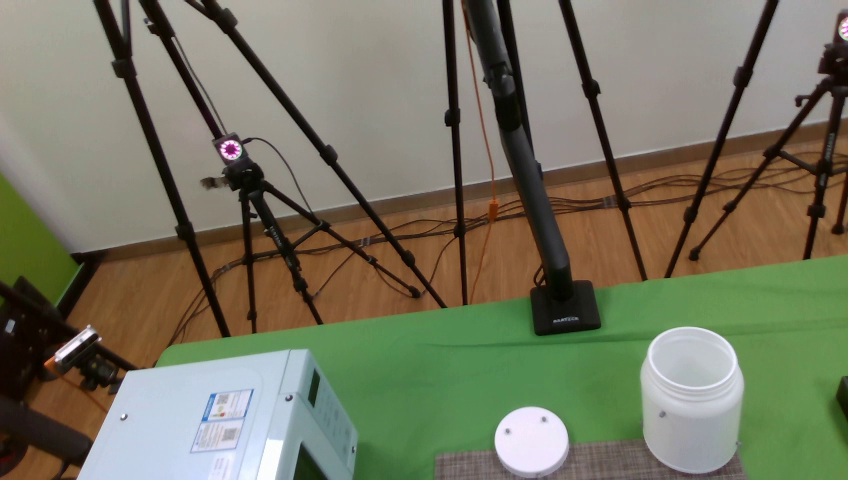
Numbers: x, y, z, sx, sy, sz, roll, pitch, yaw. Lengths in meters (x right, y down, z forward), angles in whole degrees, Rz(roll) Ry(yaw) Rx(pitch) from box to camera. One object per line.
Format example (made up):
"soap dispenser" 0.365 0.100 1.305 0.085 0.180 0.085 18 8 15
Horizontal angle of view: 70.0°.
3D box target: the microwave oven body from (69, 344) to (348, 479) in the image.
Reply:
"microwave oven body" -0.308 0.407 0.831 0.325 0.263 0.437 -9 42 10

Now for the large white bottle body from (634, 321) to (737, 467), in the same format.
"large white bottle body" 0.365 0.215 0.853 0.130 0.186 0.129 -11 37 9

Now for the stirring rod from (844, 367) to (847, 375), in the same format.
"stirring rod" 0.644 0.225 0.801 0.014 0.006 0.174 -55 43 10

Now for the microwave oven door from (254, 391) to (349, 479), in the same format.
"microwave oven door" -0.169 0.407 0.770 0.039 0.246 0.352 -10 41 10

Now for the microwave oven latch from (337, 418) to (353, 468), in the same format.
"microwave oven latch" -0.135 0.335 0.997 0.030 0.030 0.078 -9 42 10

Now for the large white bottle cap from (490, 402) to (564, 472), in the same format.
"large white bottle cap" 0.162 0.309 0.955 0.115 0.018 0.113 -10 40 9

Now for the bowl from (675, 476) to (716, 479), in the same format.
"bowl" 0.350 0.383 0.753 0.151 0.077 0.150 -11 41 10
